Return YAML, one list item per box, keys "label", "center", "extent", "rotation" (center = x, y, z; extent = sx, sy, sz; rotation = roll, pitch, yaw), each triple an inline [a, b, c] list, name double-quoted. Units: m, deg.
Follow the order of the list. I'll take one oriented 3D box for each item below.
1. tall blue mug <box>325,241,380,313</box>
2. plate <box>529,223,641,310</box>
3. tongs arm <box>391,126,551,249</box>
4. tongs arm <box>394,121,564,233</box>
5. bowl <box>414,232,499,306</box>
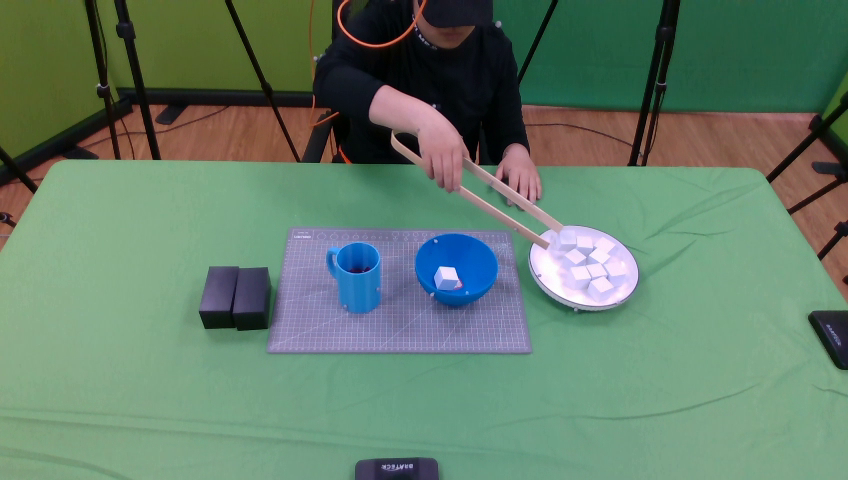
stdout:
- label: "tall blue mug"
  center: [-0.130, 0.063, 1.062]
  extent: [0.107, 0.108, 0.077]
  rotation: [9, 47, 5]
- label: "plate"
  center: [0.303, 0.053, 1.156]
  extent: [0.209, 0.038, 0.208]
  rotation: [2, 46, -2]
- label: "tongs arm"
  center: [0.079, -0.101, 1.153]
  extent: [0.386, 0.028, 0.028]
  rotation: [37, 63, 15]
- label: "tongs arm"
  center: [0.099, -0.121, 1.170]
  extent: [0.383, 0.026, 0.050]
  rotation: [38, 59, 15]
- label: "bowl"
  center: [0.056, 0.066, 1.095]
  extent: [0.151, 0.077, 0.150]
  rotation: [2, 46, -2]
